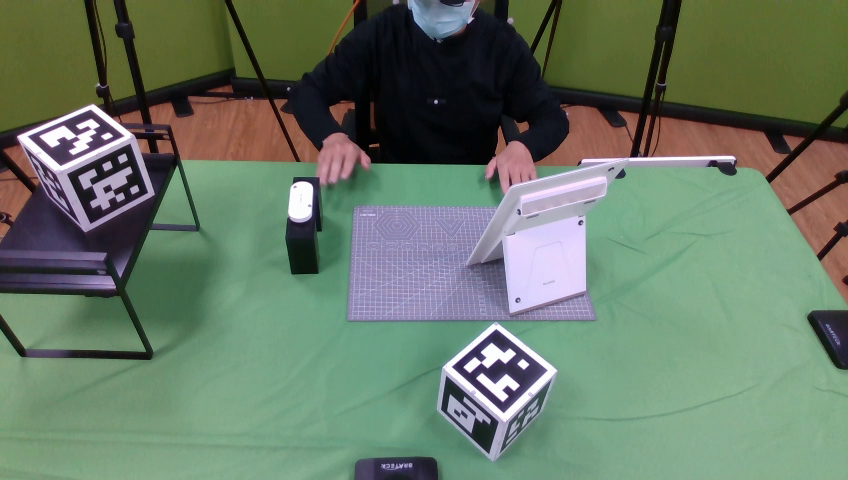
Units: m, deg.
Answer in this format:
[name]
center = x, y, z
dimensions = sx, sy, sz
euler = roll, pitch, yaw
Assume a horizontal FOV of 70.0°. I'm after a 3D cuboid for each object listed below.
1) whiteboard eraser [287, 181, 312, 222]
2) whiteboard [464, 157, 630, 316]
[whiteboard eraser]
center = -0.228, -0.071, 1.111
dimensions = 0.041, 0.019, 0.100
euler = -2, 46, -5
[whiteboard]
center = 0.224, 0.014, 1.043
dimensions = 0.217, 0.306, 0.143
euler = -14, 68, -17
